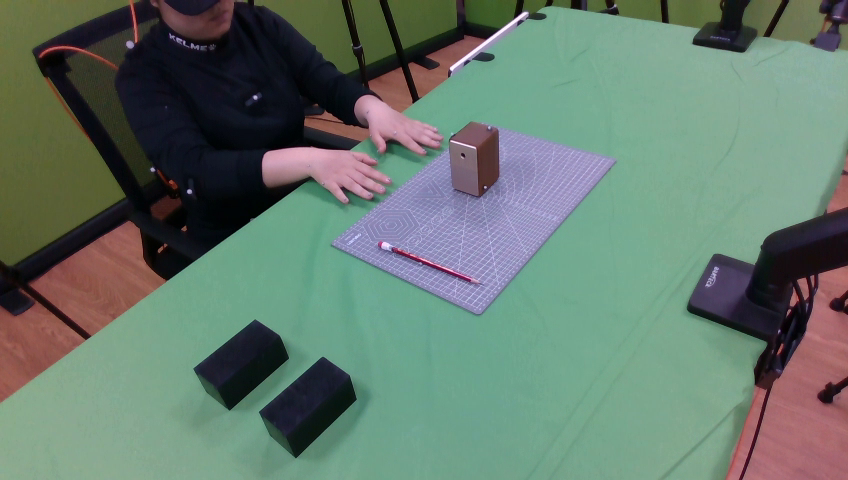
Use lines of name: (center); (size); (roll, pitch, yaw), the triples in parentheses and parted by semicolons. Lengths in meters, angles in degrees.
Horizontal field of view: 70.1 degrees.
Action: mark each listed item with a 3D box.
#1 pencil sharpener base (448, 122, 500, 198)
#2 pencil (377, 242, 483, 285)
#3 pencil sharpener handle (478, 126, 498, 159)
pencil sharpener base: (0.090, -0.141, 1.052); (0.061, 0.107, 0.077); (20, 47, 30)
pencil: (0.006, 0.036, 0.930); (0.192, 0.012, 0.012); (20, 47, 27)
pencil sharpener handle: (0.119, -0.179, 1.075); (0.035, 0.068, 0.031); (21, 47, 30)
